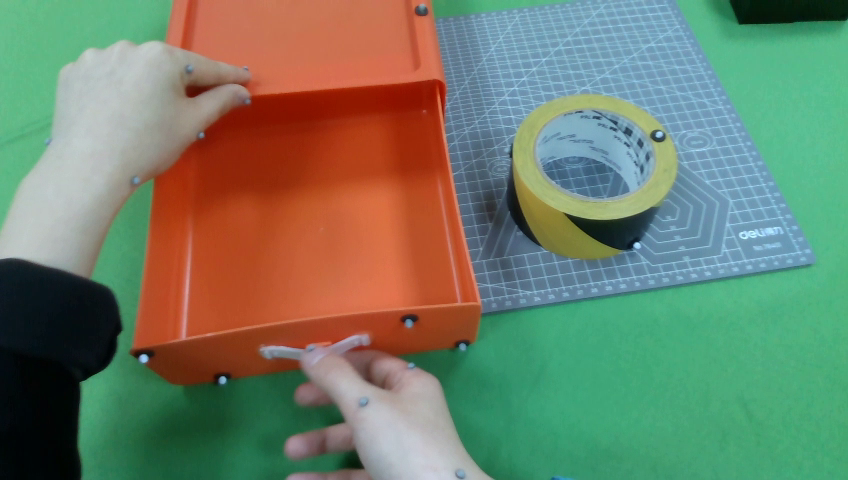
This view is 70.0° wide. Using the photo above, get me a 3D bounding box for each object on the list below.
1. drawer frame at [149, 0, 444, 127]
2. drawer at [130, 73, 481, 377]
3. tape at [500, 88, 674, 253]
[{"bbox_3d":[-0.096,-0.171,0.488,0.202,0.083,0.211,-7,59,-3],"label":"drawer frame"},{"bbox_3d":[-0.076,-0.026,0.407,0.194,0.074,0.209,-7,61,-2],"label":"drawer"},{"bbox_3d":[0.115,-0.050,0.432,0.117,0.053,0.116,-1,60,1],"label":"tape"}]
